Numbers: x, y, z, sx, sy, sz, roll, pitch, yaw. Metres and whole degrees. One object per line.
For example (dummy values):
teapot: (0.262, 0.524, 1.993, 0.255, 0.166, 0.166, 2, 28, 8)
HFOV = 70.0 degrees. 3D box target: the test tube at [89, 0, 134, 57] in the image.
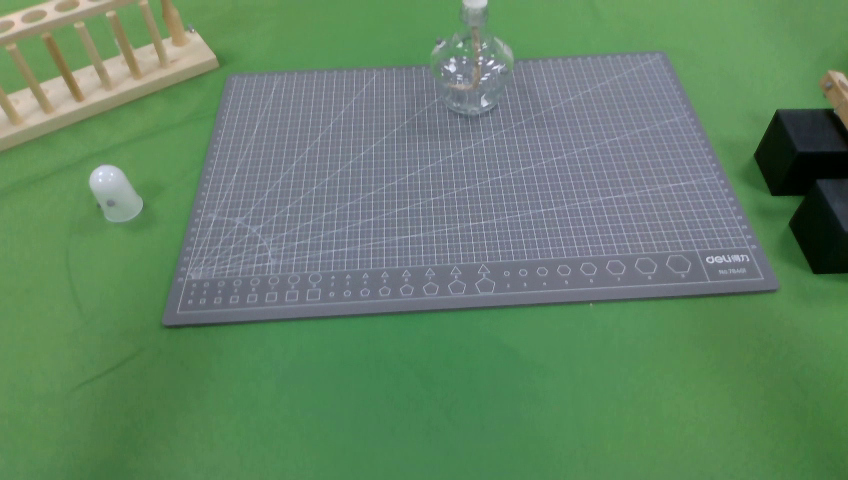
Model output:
test tube: (-0.313, -0.240, 0.564, 0.017, 0.152, 0.017, -7, 45, 7)

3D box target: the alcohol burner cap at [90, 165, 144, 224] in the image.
alcohol burner cap: (-0.256, -0.040, 0.499, 0.034, 0.048, 0.033, -1, 51, 1)

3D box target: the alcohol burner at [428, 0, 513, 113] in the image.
alcohol burner: (0.043, -0.175, 0.545, 0.078, 0.120, 0.077, 0, 52, 0)

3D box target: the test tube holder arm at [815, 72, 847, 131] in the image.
test tube holder arm: (0.333, -0.101, 0.477, 0.010, 0.015, 0.087, -2, 52, -2)

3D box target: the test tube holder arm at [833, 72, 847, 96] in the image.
test tube holder arm: (0.342, -0.066, 0.450, 0.013, 0.015, 0.176, -3, 52, -3)

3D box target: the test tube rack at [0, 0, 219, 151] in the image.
test tube rack: (-0.334, -0.174, 0.580, 0.242, 0.086, 0.066, -28, 55, -19)
